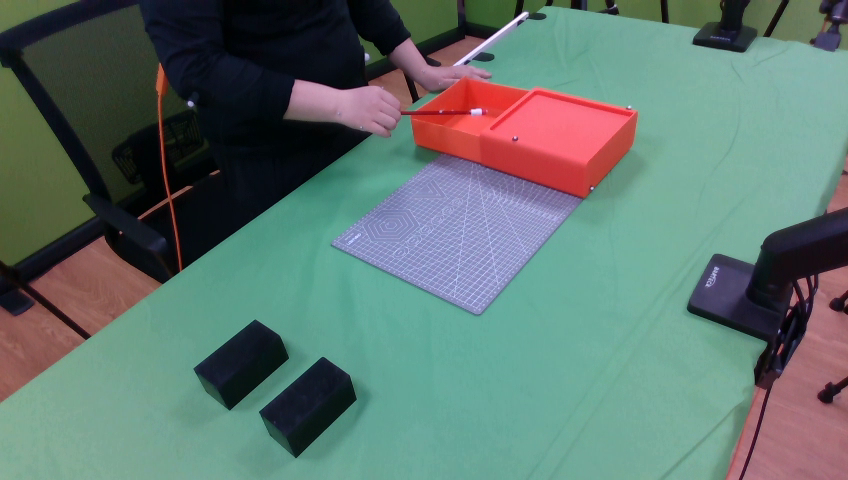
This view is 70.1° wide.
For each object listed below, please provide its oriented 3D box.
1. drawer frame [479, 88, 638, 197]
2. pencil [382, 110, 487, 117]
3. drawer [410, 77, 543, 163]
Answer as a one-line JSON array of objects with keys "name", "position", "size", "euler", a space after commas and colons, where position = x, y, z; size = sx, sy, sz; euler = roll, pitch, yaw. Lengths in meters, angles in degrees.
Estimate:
[{"name": "drawer frame", "position": [0.243, -0.184, 1.100], "size": [0.212, 0.083, 0.202], "euler": [23, 48, 30]}, {"name": "pencil", "position": [0.020, -0.231, 1.104], "size": [0.195, 0.012, 0.012], "euler": [-2, 39, -8]}, {"name": "drawer", "position": [0.114, -0.235, 1.187], "size": [0.210, 0.073, 0.195], "euler": [21, 46, 32]}]
